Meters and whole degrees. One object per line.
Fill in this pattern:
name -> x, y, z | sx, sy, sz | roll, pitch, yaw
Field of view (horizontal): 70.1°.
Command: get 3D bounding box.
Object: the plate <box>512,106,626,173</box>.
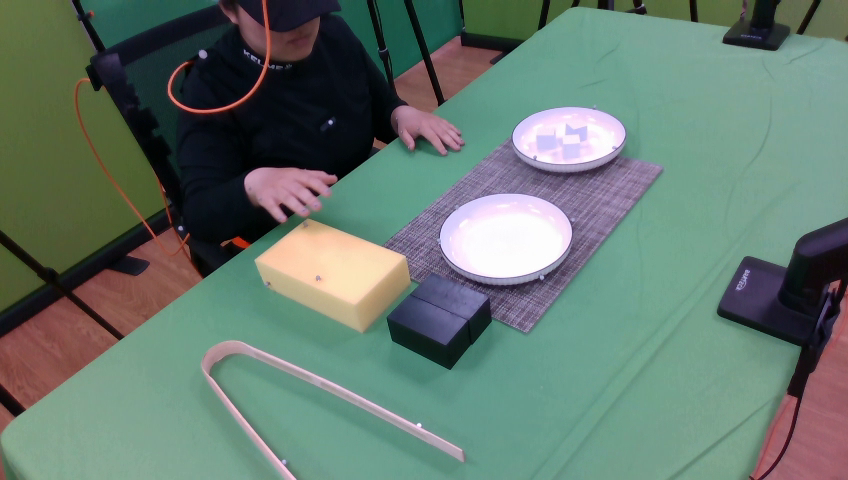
plate -> 0.269, -0.185, 1.132 | 0.209, 0.038, 0.208 | -5, 40, 5

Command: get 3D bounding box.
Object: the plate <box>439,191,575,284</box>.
plate -> 0.129, -0.001, 0.942 | 0.207, 0.039, 0.206 | -5, 40, 5

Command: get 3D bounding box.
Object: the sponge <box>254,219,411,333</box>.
sponge -> -0.139, 0.049, 0.922 | 0.205, 0.061, 0.118 | 19, 47, 30

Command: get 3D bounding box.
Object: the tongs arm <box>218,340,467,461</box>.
tongs arm -> -0.117, 0.196, 0.767 | 0.385, 0.028, 0.028 | 16, 49, 28

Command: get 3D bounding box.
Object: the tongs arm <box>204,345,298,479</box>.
tongs arm -> -0.170, 0.238, 0.721 | 0.381, 0.026, 0.051 | 28, 52, 37
